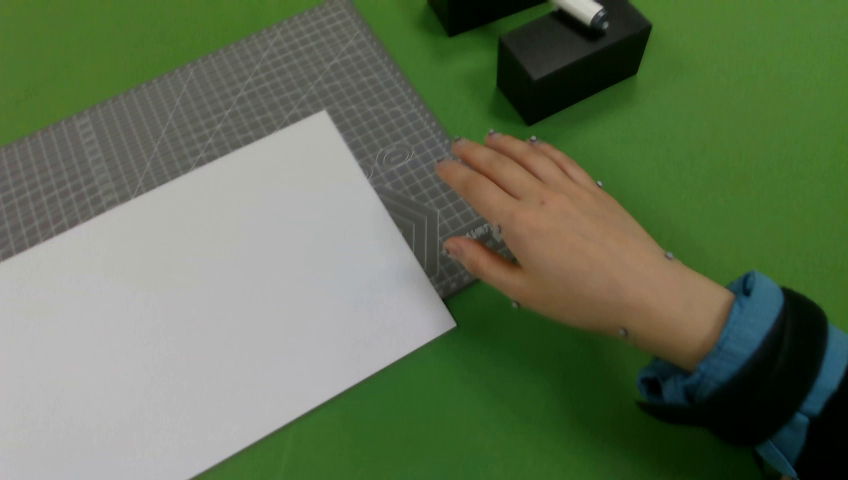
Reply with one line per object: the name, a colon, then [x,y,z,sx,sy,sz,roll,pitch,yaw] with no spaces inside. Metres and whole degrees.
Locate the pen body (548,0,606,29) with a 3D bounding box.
pen body: [0.078,-0.202,0.459,0.017,0.017,0.143,-39,67,-15]
